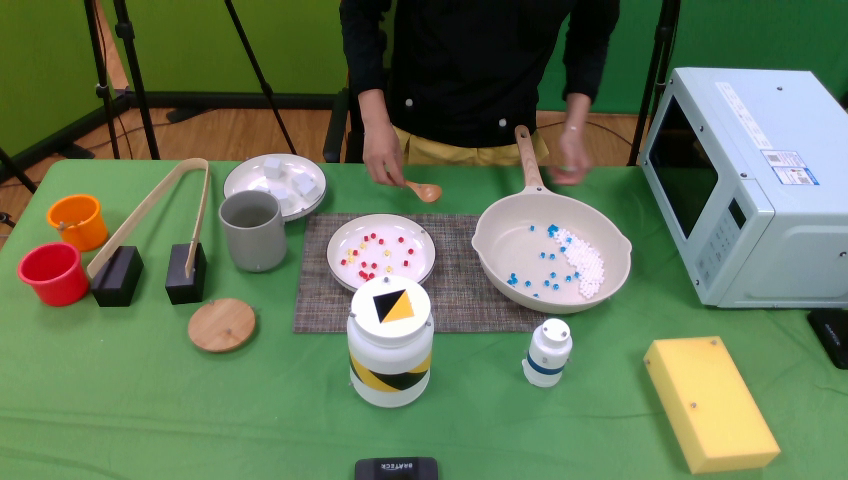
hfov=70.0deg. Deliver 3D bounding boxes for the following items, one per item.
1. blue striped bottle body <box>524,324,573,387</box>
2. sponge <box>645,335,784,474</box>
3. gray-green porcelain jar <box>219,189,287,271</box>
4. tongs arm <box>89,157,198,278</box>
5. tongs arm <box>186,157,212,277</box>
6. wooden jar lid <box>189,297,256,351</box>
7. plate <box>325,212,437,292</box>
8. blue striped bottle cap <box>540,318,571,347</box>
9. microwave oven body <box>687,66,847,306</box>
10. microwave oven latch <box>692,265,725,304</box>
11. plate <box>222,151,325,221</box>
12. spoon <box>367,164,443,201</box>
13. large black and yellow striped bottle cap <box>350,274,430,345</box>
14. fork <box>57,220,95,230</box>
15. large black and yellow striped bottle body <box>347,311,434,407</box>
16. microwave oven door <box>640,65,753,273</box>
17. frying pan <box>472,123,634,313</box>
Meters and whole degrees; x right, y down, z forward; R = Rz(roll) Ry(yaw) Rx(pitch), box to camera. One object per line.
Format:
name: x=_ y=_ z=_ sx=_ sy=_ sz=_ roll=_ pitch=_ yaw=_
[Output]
blue striped bottle body: x=0.200 y=0.178 z=0.970 sx=0.063 sy=0.121 sz=0.062 roll=2 pitch=46 yaw=-2
sponge: x=0.449 y=0.253 z=0.956 sx=0.118 sy=0.061 sz=0.205 roll=-4 pitch=46 yaw=-7
gray-green porcelain jar: x=-0.310 y=-0.014 z=1.113 sx=0.106 sy=0.127 sz=0.105 roll=2 pitch=46 yaw=-2
tongs arm: x=-0.529 y=-0.058 z=1.164 sx=0.028 sy=0.028 sz=0.385 roll=1 pitch=36 yaw=8
tongs arm: x=-0.445 y=-0.058 z=1.168 sx=0.051 sy=0.026 sz=0.382 roll=-4 pitch=37 yaw=-6
wooden jar lid: x=-0.342 y=0.145 z=1.033 sx=0.108 sy=0.021 sz=0.107 roll=2 pitch=45 yaw=-2
plate: x=-0.080 y=0.030 z=1.143 sx=0.209 sy=0.038 sz=0.208 roll=3 pitch=46 yaw=-2
blue striped bottle cap: x=0.203 y=0.142 z=0.933 sx=0.044 sy=0.021 sz=0.044 roll=3 pitch=49 yaw=-3
microwave oven body: x=0.669 y=-0.111 z=1.176 sx=0.326 sy=0.261 sz=0.439 roll=0 pitch=46 yaw=-3
microwave oven latch: x=0.522 y=0.081 z=1.116 sx=0.030 sy=0.029 sz=0.078 roll=1 pitch=46 yaw=-2
plate: x=-0.310 y=-0.106 z=1.263 sx=0.208 sy=0.039 sz=0.206 roll=2 pitch=47 yaw=-2
spoon: x=-0.042 y=-0.123 z=1.232 sx=0.193 sy=0.022 sz=0.041 roll=26 pitch=78 yaw=25
large black and yellow striped bottle cap: x=-0.048 y=0.097 z=0.867 sx=0.115 sy=0.019 sz=0.114 roll=3 pitch=48 yaw=-3
fork: x=-0.624 y=-0.027 z=1.087 sx=0.028 sy=0.207 sz=0.018 roll=-3 pitch=92 yaw=-17
large black and yellow striped bottle body: x=-0.052 y=0.157 z=0.929 sx=0.131 sy=0.185 sz=0.130 roll=2 pitch=47 yaw=-2
microwave oven door: x=0.523 y=-0.147 z=1.193 sx=0.039 sy=0.245 sz=0.353 roll=0 pitch=47 yaw=-3
frying pan: x=0.235 y=-0.060 z=1.207 sx=0.307 sy=0.103 sz=0.484 roll=2 pitch=55 yaw=-6
